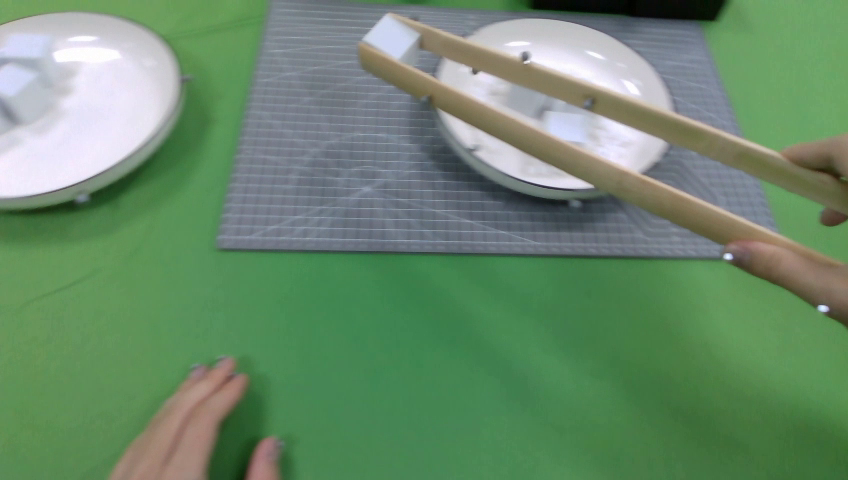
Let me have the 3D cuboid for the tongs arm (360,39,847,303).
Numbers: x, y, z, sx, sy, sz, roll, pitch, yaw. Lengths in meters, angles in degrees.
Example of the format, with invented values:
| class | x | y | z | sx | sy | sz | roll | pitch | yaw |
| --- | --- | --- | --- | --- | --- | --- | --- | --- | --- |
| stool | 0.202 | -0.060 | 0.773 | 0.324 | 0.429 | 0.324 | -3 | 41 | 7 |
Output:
| class | x | y | z | sx | sy | sz | roll | pitch | yaw |
| --- | --- | --- | --- | --- | --- | --- | --- | --- | --- |
| tongs arm | 0.108 | -0.051 | 0.375 | 0.384 | 0.028 | 0.028 | 30 | 60 | 23 |

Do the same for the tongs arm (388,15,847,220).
| class | x | y | z | sx | sy | sz | roll | pitch | yaw |
| --- | --- | --- | --- | --- | --- | --- | --- | --- | --- |
| tongs arm | 0.123 | -0.068 | 0.384 | 0.382 | 0.027 | 0.050 | 26 | 62 | 21 |

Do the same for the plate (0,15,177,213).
| class | x | y | z | sx | sy | sz | roll | pitch | yaw |
| --- | --- | --- | --- | --- | --- | --- | --- | --- | --- |
| plate | -0.307 | -0.103 | 0.493 | 0.208 | 0.039 | 0.205 | 2 | 57 | -3 |

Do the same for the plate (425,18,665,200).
| class | x | y | z | sx | sy | sz | roll | pitch | yaw |
| --- | --- | --- | --- | --- | --- | --- | --- | --- | --- |
| plate | 0.103 | -0.116 | 0.533 | 0.209 | 0.038 | 0.207 | 2 | 57 | -3 |
